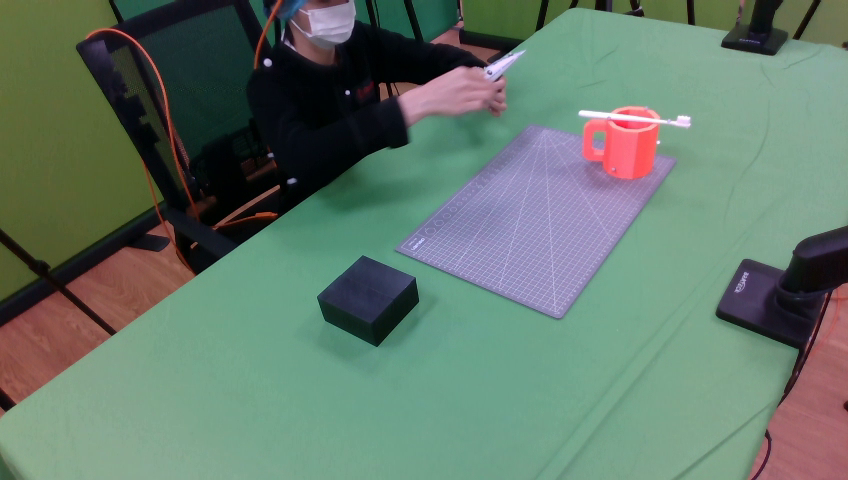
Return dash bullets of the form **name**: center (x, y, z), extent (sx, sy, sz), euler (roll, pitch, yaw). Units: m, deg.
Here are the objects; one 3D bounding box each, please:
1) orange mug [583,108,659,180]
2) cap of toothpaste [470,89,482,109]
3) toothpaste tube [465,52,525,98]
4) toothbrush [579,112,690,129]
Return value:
- **orange mug**: center (0.343, -0.171, 1.061), extent (0.126, 0.101, 0.083), euler (10, 43, 15)
- **cap of toothpaste**: center (0.093, -0.255, 1.090), extent (0.011, 0.037, 0.037), euler (14, 44, 22)
- **toothpaste tube**: center (0.130, -0.316, 1.147), extent (0.054, 0.035, 0.165), euler (3, 40, 46)
- **toothbrush**: center (0.352, -0.205, 1.019), extent (0.181, 0.017, 0.014), euler (10, 47, 21)
